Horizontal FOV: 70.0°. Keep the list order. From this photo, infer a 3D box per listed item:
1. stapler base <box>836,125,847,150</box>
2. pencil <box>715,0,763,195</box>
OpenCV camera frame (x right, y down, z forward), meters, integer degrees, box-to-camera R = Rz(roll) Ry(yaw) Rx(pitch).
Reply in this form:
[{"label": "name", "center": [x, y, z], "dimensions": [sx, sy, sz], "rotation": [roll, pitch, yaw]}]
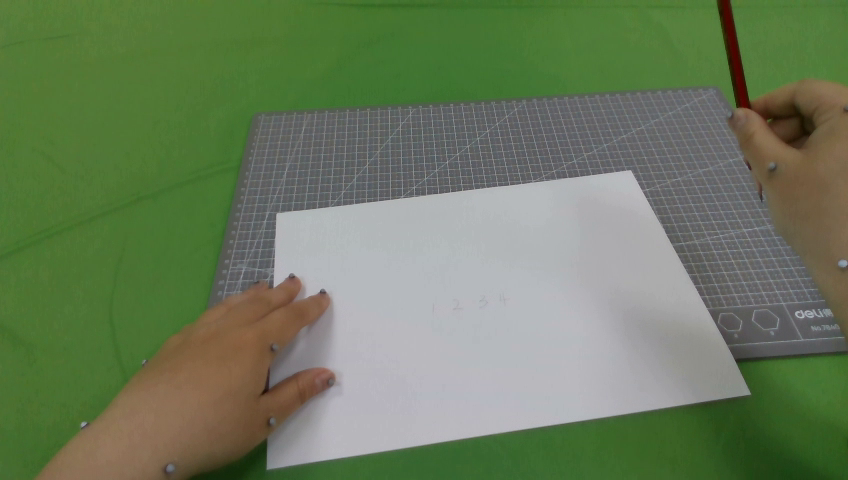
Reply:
[{"label": "stapler base", "center": [0.389, -0.058, 0.490], "dimensions": [0.041, 0.024, 0.129], "rotation": [-9, 51, -2]}, {"label": "pencil", "center": [0.187, -0.121, 0.370], "dimensions": [0.012, 0.012, 0.193], "rotation": [-7, 83, -3]}]
